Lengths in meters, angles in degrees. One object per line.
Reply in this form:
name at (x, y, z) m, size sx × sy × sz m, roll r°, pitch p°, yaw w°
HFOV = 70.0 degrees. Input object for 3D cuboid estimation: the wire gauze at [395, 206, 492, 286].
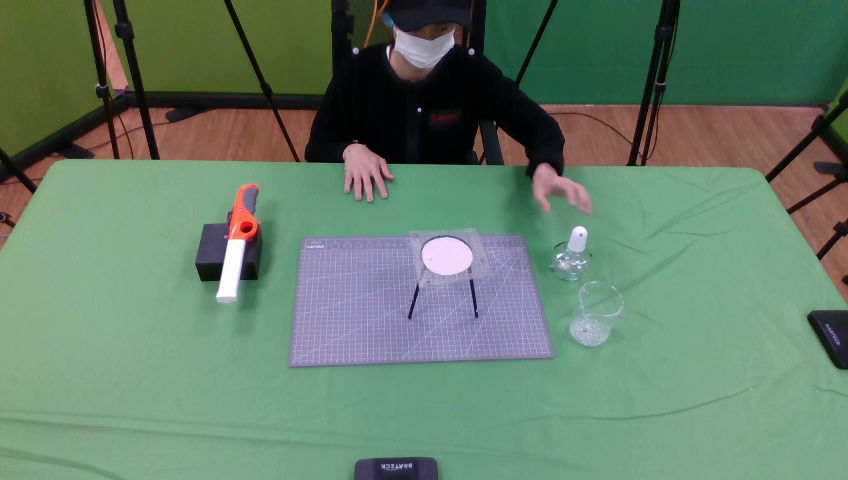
wire gauze at (0.031, 0.010, 0.993) m, size 0.125 × 0.011 × 0.120 m, roll -25°, pitch 56°, yaw -17°

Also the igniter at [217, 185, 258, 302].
igniter at (-0.339, -0.003, 1.106) m, size 0.057 × 0.025 × 0.274 m, roll 1°, pitch 49°, yaw -6°

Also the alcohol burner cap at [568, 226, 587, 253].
alcohol burner cap at (0.284, -0.003, 1.112) m, size 0.034 × 0.048 × 0.033 m, roll 1°, pitch 42°, yaw -1°

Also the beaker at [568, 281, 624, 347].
beaker at (0.290, 0.132, 1.041) m, size 0.084 × 0.101 × 0.073 m, roll -34°, pitch 57°, yaw -31°

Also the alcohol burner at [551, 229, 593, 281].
alcohol burner at (0.281, 0.021, 1.137) m, size 0.078 × 0.120 × 0.077 m, roll 1°, pitch 48°, yaw -1°

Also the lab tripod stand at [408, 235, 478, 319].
lab tripod stand at (0.032, 0.065, 1.057) m, size 0.148 × 0.132 × 0.147 m, roll 1°, pitch 45°, yaw -1°
